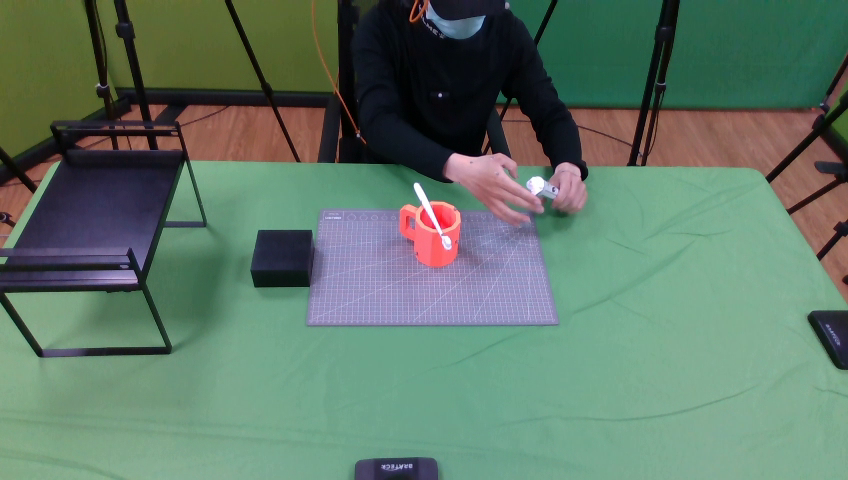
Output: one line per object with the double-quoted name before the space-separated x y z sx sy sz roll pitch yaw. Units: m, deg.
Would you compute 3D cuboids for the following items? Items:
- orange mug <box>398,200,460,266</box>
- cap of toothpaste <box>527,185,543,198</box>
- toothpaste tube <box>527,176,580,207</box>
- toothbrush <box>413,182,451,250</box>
"orange mug" 0.007 -0.020 1.161 0.126 0.101 0.083 27 50 15
"cap of toothpaste" 0.210 -0.093 1.154 0.037 0.037 0.011 -33 88 -30
"toothpaste tube" 0.260 -0.097 1.228 0.166 0.034 0.054 14 26 -48
"toothbrush" 0.013 -0.050 1.118 0.014 0.017 0.180 -15 49 -14
